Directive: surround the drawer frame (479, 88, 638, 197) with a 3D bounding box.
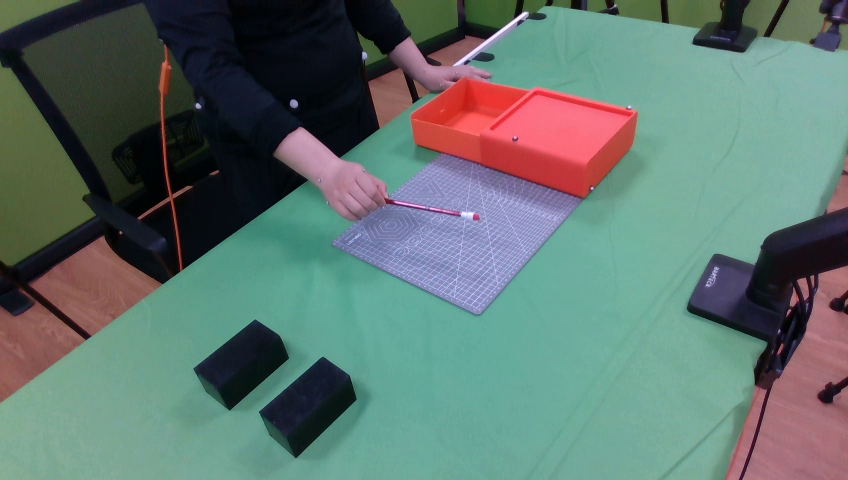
[{"bbox_3d":[0.243,-0.184,1.100,0.212,0.083,0.202,23,48,30],"label":"drawer frame"}]

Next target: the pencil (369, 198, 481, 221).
[{"bbox_3d":[-0.002,-0.050,0.938,0.193,0.012,0.012,11,44,23],"label":"pencil"}]

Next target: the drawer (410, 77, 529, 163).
[{"bbox_3d":[0.113,-0.235,1.186,0.210,0.073,0.195,21,46,32],"label":"drawer"}]
